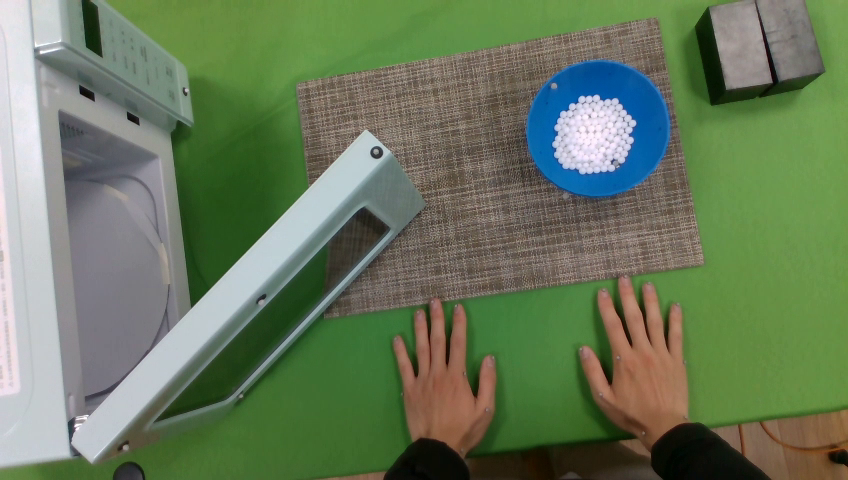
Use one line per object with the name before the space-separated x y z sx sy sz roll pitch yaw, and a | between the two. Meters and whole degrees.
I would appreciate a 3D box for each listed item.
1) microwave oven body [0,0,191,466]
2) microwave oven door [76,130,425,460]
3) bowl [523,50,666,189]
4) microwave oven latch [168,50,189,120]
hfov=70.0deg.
microwave oven body | -0.440 0.000 0.650 0.326 0.261 0.440 -11 84 5
microwave oven door | -0.145 0.055 0.608 0.039 0.244 0.356 43 91 10
bowl | 0.185 -0.126 0.682 0.151 0.077 0.151 -1 85 7
microwave oven latch | -0.314 -0.191 0.750 0.030 0.029 0.079 -11 85 5
